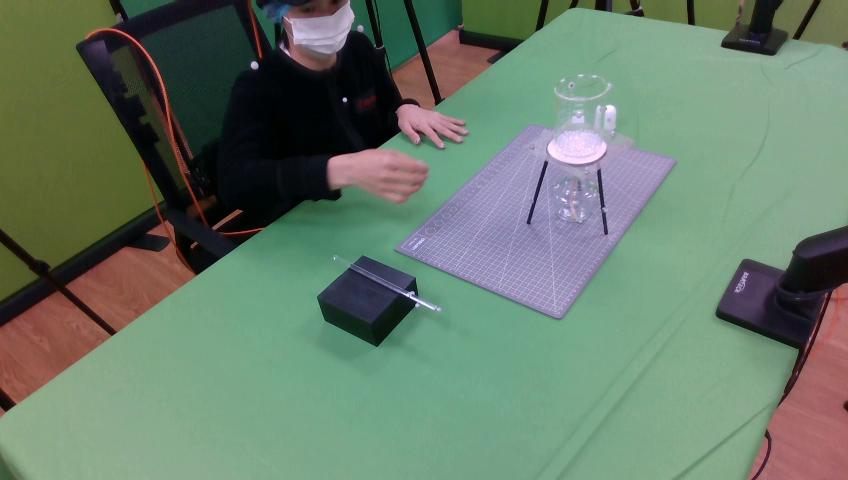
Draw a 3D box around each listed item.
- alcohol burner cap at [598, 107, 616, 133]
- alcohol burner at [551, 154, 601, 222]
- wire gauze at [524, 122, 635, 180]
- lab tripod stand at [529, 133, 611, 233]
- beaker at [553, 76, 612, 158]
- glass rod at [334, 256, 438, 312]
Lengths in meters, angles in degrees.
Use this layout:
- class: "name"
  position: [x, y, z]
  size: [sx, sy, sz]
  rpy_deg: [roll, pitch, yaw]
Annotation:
- class: "alcohol burner cap"
  position: [0.361, -0.239, 1.189]
  size: [0.034, 0.048, 0.033]
  rpy_deg: [-4, 40, 4]
- class: "alcohol burner"
  position: [0.244, -0.088, 0.966]
  size: [0.078, 0.119, 0.077]
  rpy_deg: [-3, 40, 3]
- class: "wire gauze"
  position: [0.233, -0.142, 0.913]
  size: [0.122, 0.011, 0.124]
  rpy_deg: [-31, 42, -26]
- class: "lab tripod stand"
  position: [0.236, -0.089, 0.953]
  size: [0.148, 0.132, 0.147]
  rpy_deg: [-5, 41, 5]
- class: "beaker"
  position: [0.230, -0.178, 0.882]
  size: [0.084, 0.101, 0.073]
  rpy_deg: [-9, 41, 1]
- class: "glass rod"
  position: [-0.058, 0.059, 0.850]
  size: [0.198, 0.008, 0.008]
  rpy_deg: [24, 49, 33]
